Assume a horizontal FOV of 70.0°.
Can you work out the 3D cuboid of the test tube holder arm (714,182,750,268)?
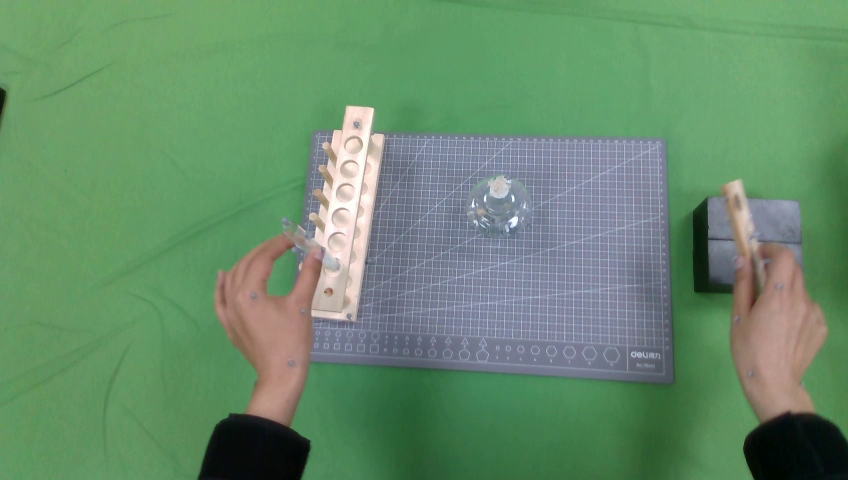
[{"bbox_3d":[0.310,-0.015,0.606,0.010,0.015,0.088,-19,90,0],"label":"test tube holder arm"}]

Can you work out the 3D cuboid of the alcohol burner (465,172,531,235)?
[{"bbox_3d":[0.084,-0.047,0.691,0.078,0.120,0.077,-1,77,6],"label":"alcohol burner"}]

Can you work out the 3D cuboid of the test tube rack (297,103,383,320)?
[{"bbox_3d":[-0.104,-0.033,0.718,0.066,0.085,0.241,6,76,6],"label":"test tube rack"}]

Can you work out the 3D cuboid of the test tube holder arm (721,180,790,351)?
[{"bbox_3d":[0.331,0.026,0.606,0.013,0.015,0.178,-21,90,-1],"label":"test tube holder arm"}]

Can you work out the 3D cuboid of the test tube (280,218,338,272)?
[{"bbox_3d":[-0.110,0.009,0.599,0.017,0.151,0.017,-2,73,6],"label":"test tube"}]
